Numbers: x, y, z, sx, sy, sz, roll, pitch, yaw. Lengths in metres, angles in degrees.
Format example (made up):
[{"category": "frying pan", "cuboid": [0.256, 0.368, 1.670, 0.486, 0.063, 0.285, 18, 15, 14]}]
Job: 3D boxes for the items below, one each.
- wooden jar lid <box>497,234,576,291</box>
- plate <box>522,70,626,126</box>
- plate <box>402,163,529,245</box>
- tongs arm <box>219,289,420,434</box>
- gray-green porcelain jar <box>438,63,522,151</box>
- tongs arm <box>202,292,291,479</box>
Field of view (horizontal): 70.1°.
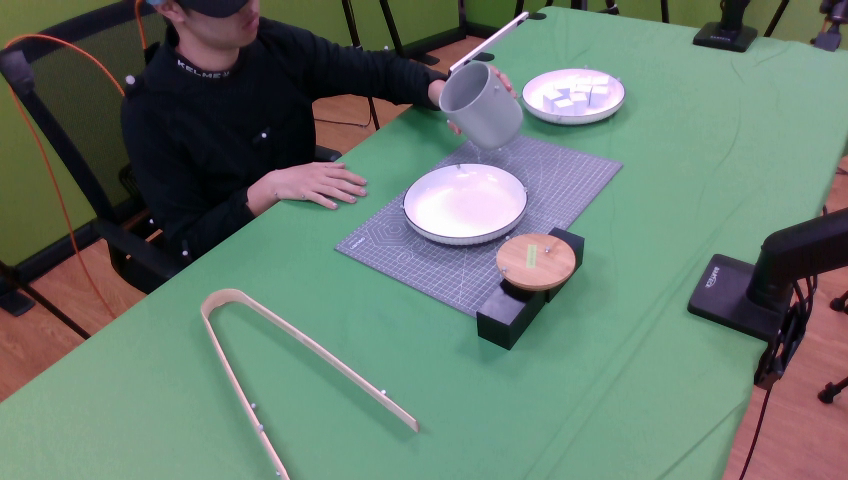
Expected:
[{"category": "wooden jar lid", "cuboid": [0.155, 0.032, 0.834, 0.108, 0.021, 0.108, -5, 40, 5]}, {"category": "plate", "cuboid": [0.308, -0.289, 1.251, 0.207, 0.039, 0.206, -4, 40, 4]}, {"category": "plate", "cuboid": [0.069, -0.056, 1.008, 0.209, 0.038, 0.208, -4, 40, 4]}, {"category": "tongs arm", "cuboid": [-0.152, 0.151, 0.812, 0.384, 0.028, 0.028, 26, 53, 33]}, {"category": "gray-green porcelain jar", "cuboid": [0.103, -0.225, 1.049, 0.105, 0.127, 0.105, -22, 50, 29]}, {"category": "tongs arm", "cuboid": [-0.216, 0.187, 0.772, 0.051, 0.026, 0.381, -27, 43, -24]}]
